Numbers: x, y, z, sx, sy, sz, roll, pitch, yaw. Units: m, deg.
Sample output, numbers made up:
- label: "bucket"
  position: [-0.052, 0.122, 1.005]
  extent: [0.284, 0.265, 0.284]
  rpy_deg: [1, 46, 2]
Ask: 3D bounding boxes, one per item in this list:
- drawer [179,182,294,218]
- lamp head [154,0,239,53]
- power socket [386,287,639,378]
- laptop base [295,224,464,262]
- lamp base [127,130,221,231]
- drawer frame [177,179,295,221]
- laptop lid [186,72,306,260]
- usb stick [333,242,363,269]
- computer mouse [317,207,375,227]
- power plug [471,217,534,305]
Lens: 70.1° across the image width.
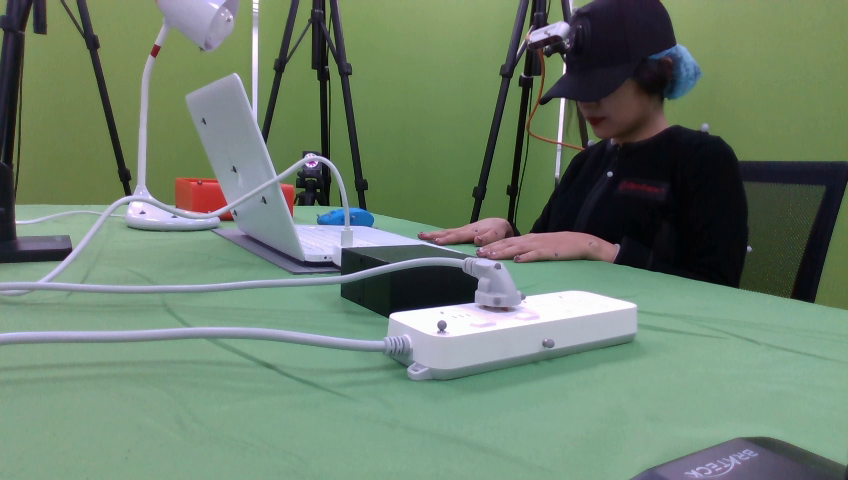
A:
- label: "drawer"
  position: [-0.420, -0.091, 1.354]
  extent: [0.213, 0.073, 0.193]
  rpy_deg: [-3, 10, -31]
- label: "lamp head"
  position: [-0.406, -0.402, 1.059]
  extent: [0.123, 0.112, 0.112]
  rpy_deg: [25, 5, -6]
- label: "power socket"
  position: [0.074, 0.064, 0.461]
  extent: [0.228, 0.032, 0.072]
  rpy_deg: [-4, 8, -34]
- label: "laptop base"
  position: [-0.127, 0.002, 0.946]
  extent: [0.237, 0.023, 0.352]
  rpy_deg: [2, 6, -30]
- label: "lamp base"
  position: [-0.469, -0.112, 1.108]
  extent: [0.179, 0.180, 0.160]
  rpy_deg: [0, 7, 3]
- label: "drawer frame"
  position: [-0.422, -0.092, 1.352]
  extent: [0.215, 0.082, 0.200]
  rpy_deg: [-3, 10, -32]
- label: "laptop lid"
  position: [-0.263, -0.102, 0.852]
  extent: [0.013, 0.242, 0.355]
  rpy_deg: [-25, 20, -25]
- label: "usb stick"
  position: [-0.096, 0.017, 0.743]
  extent: [0.021, 0.027, 0.059]
  rpy_deg: [-4, 10, -31]
- label: "computer mouse"
  position: [-0.163, -0.048, 1.264]
  extent: [0.118, 0.041, 0.062]
  rpy_deg: [-6, 12, -29]
- label: "power plug"
  position: [0.055, 0.014, 0.454]
  extent: [0.035, 0.072, 0.052]
  rpy_deg: [-22, -1, -40]
